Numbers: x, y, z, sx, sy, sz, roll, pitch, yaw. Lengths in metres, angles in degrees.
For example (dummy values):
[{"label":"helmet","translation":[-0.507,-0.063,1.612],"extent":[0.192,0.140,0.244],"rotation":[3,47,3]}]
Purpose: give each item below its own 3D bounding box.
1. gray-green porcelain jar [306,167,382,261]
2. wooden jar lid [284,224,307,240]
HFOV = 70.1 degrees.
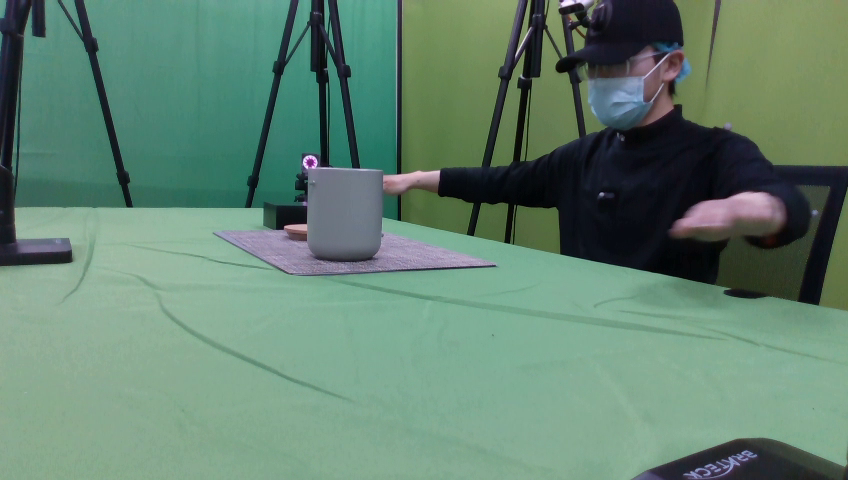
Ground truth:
[{"label":"gray-green porcelain jar","translation":[-0.112,-0.039,0.850],"extent":[0.106,0.126,0.106],"rotation":[2,7,0]},{"label":"wooden jar lid","translation":[-0.190,-0.014,1.057],"extent":[0.108,0.020,0.108],"rotation":[2,6,0]}]
